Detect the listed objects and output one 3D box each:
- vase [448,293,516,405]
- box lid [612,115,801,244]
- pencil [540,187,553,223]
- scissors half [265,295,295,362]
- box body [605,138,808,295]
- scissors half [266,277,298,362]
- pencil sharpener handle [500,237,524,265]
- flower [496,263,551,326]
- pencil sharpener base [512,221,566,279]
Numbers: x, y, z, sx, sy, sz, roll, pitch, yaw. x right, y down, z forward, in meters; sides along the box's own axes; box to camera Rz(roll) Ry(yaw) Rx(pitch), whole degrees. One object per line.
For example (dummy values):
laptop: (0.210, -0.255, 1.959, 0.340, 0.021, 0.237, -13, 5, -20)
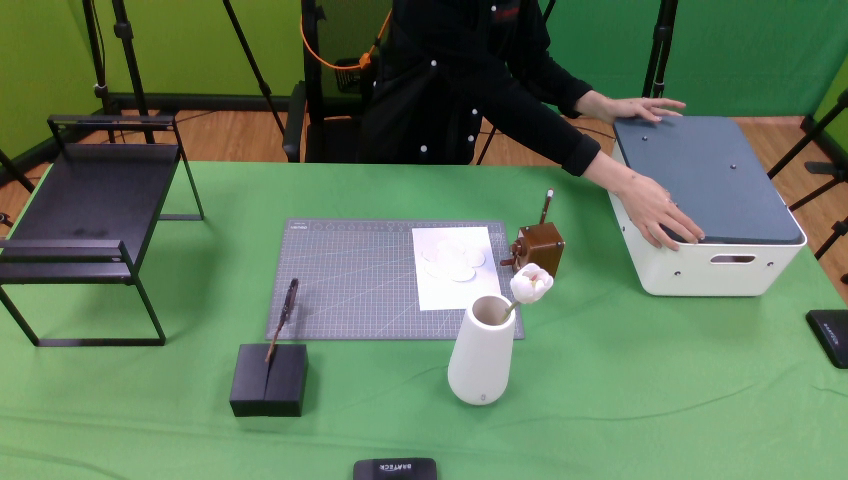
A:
vase: (0.091, 0.169, 0.921, 0.098, 0.201, 0.097, 3, 47, -3)
box lid: (0.520, -0.127, 1.152, 0.263, 0.015, 0.369, 2, 45, -2)
pencil: (0.250, -0.049, 1.273, 0.012, 0.012, 0.193, 16, 49, 11)
scissors half: (-0.239, 0.143, 1.005, 0.013, 0.040, 0.174, 17, 28, -7)
box body: (0.529, -0.068, 1.205, 0.254, 0.161, 0.361, 1, 46, -4)
scissors half: (-0.234, 0.127, 0.993, 0.013, 0.040, 0.174, 12, 46, -4)
pencil sharpener handle: (0.159, 0.024, 1.111, 0.031, 0.068, 0.035, -9, 54, -12)
flower: (0.102, 0.121, 0.853, 0.044, 0.363, 0.038, -1, 64, -10)
pencil sharpener base: (0.209, 0.026, 1.130, 0.077, 0.107, 0.061, -9, 48, -12)
